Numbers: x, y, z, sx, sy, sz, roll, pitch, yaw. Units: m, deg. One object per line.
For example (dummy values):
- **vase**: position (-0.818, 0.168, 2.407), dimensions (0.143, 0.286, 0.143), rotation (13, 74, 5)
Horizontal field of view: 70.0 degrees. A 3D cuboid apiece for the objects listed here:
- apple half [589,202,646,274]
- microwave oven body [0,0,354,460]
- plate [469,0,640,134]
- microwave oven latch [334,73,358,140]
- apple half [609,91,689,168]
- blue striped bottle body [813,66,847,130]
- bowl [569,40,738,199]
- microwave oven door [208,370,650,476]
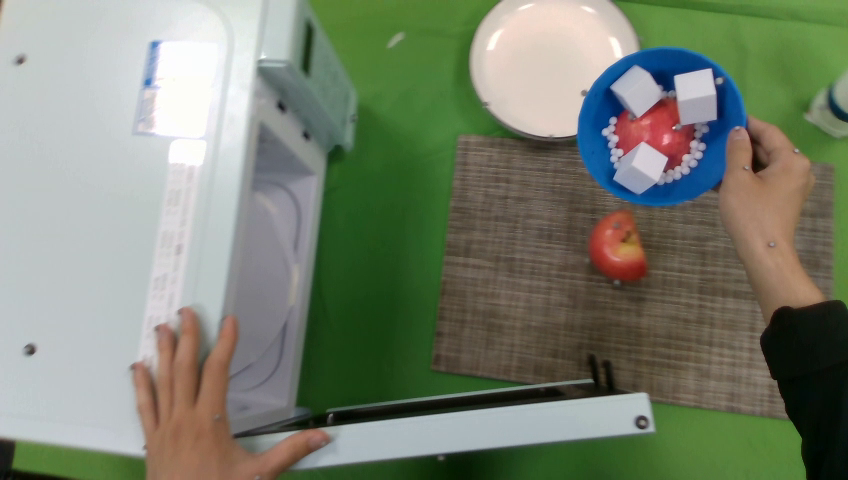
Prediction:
- **apple half**: position (0.217, 0.002, 0.695), dimensions (0.053, 0.075, 0.080), rotation (-14, 82, 8)
- **microwave oven body**: position (-0.277, -0.023, 0.659), dimensions (0.325, 0.261, 0.440), rotation (5, 81, 7)
- **plate**: position (0.161, -0.229, 0.762), dimensions (0.207, 0.039, 0.207), rotation (-1, 81, 6)
- **microwave oven latch**: position (-0.101, -0.168, 0.762), dimensions (0.030, 0.029, 0.079), rotation (6, 82, 7)
- **apple half**: position (0.224, -0.111, 0.600), dimensions (0.081, 0.033, 0.081), rotation (0, 91, 18)
- **blue striped bottle body**: position (0.493, -0.172, 0.671), dimensions (0.063, 0.121, 0.063), rotation (-1, 79, 7)
- **bowl**: position (0.222, -0.112, 0.603), dimensions (0.151, 0.077, 0.151), rotation (0, 89, 15)
- **microwave oven door**: position (0.012, 0.171, 0.589), dimensions (0.356, 0.245, 0.039), rotation (-9, 79, 5)
